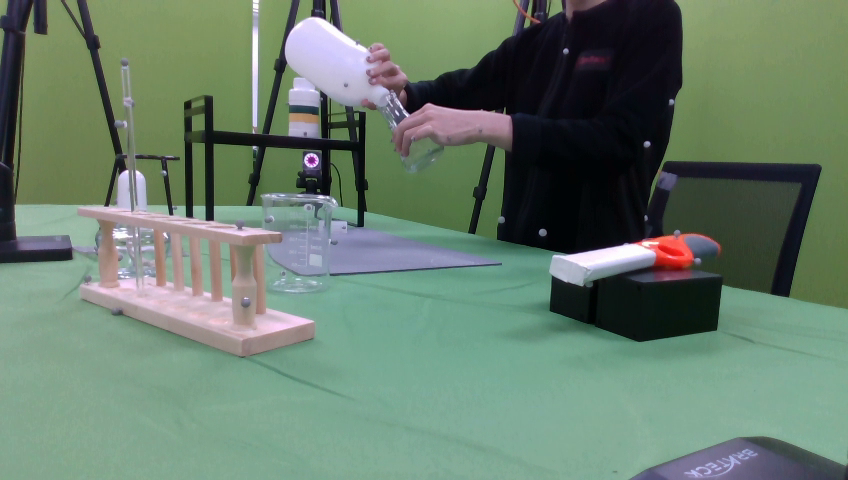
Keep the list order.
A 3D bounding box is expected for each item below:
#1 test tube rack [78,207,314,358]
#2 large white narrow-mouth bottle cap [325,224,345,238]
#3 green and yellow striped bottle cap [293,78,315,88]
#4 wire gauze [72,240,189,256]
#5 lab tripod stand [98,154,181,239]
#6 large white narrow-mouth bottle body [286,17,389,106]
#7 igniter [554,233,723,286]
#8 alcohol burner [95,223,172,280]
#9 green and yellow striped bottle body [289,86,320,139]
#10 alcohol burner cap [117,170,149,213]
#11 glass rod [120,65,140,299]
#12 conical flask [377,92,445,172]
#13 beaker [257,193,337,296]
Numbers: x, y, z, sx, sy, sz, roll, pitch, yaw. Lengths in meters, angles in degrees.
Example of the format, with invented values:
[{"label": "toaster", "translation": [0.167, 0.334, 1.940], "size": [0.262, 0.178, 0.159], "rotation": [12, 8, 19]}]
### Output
[{"label": "test tube rack", "translation": [-0.196, 0.024, 0.500], "size": [0.241, 0.085, 0.067], "rotation": [8, 8, 37]}, {"label": "large white narrow-mouth bottle cap", "translation": [-0.160, -0.017, 1.090], "size": [0.038, 0.024, 0.037], "rotation": [3, 9, 0]}, {"label": "green and yellow striped bottle cap", "translation": [-0.248, -0.323, 1.256], "size": [0.045, 0.020, 0.045], "rotation": [4, 8, 0]}, {"label": "wire gauze", "translation": [-0.399, 0.013, 0.820], "size": [0.126, 0.011, 0.121], "rotation": [-3, 8, -37]}, {"label": "lab tripod stand", "translation": [-0.427, -0.066, 0.942], "size": [0.148, 0.131, 0.148], "rotation": [1, 6, 0]}, {"label": "large white narrow-mouth bottle body", "translation": [-0.132, -0.280, 0.994], "size": [0.194, 0.101, 0.102], "rotation": [40, 24, 22]}, {"label": "igniter", "translation": [0.214, 0.015, 0.570], "size": [0.278, 0.025, 0.057], "rotation": [-5, 22, -44]}, {"label": "alcohol burner", "translation": [-0.320, -0.017, 0.667], "size": [0.078, 0.119, 0.078], "rotation": [0, 7, 0]}, {"label": "green and yellow striped bottle body", "translation": [-0.250, -0.272, 1.261], "size": [0.063, 0.119, 0.063], "rotation": [3, 7, 0]}, {"label": "alcohol burner cap", "translation": [-0.320, -0.052, 0.661], "size": [0.034, 0.048, 0.034], "rotation": [-3, 0, 0]}, {"label": "glass rod", "translation": [-0.249, -0.047, 0.513], "size": [0.008, 0.199, 0.008], "rotation": [-1, 3, 0]}, {"label": "conical flask", "translation": [-0.027, -0.173, 0.952], "size": [0.075, 0.121, 0.075], "rotation": [-34, -7, -4]}, {"label": "beaker", "translation": [-0.130, 0.003, 0.628], "size": [0.084, 0.100, 0.074], "rotation": [5, 8, 15]}]
